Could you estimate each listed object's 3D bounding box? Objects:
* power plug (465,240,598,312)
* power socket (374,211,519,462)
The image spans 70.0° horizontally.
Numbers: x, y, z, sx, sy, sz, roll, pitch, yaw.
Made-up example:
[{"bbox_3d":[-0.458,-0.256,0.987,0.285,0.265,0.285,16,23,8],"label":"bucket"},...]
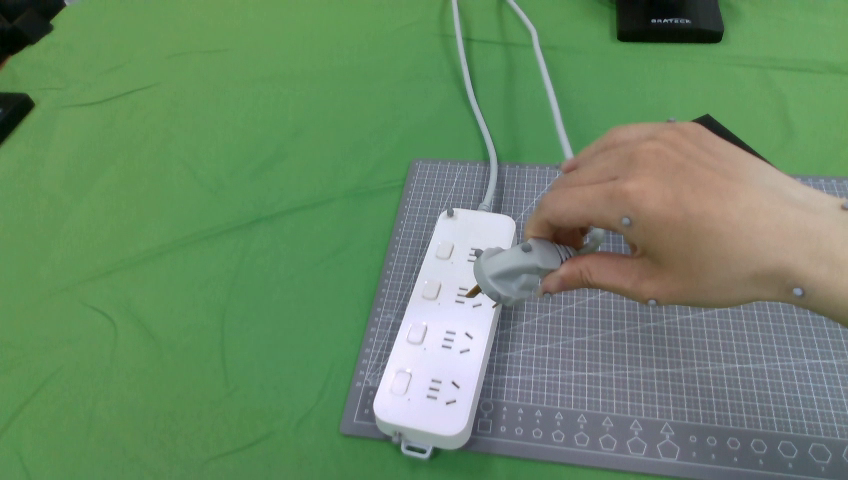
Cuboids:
[{"bbox_3d":[0.061,0.026,0.343,0.073,0.053,0.035,17,48,-25],"label":"power plug"},{"bbox_3d":[0.024,0.064,0.488,0.072,0.033,0.225,10,53,14],"label":"power socket"}]
